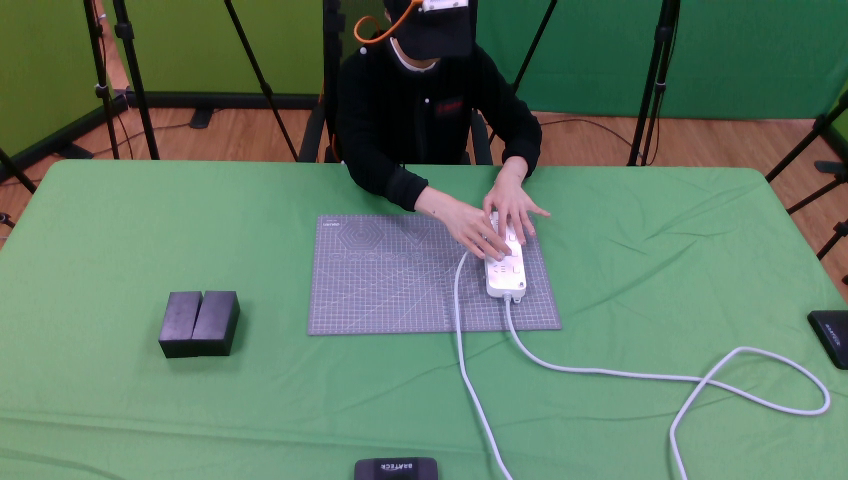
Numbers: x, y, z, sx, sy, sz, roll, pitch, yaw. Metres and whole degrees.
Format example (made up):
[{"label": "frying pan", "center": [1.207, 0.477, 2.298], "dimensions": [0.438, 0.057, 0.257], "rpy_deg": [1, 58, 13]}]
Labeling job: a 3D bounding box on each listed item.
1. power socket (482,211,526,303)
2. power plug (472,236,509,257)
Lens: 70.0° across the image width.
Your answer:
[{"label": "power socket", "center": [0.152, 0.024, 1.173], "dimensions": [0.072, 0.033, 0.225], "rpy_deg": [4, 46, -2]}, {"label": "power plug", "center": [0.125, 0.013, 1.148], "dimensions": [0.072, 0.053, 0.035], "rpy_deg": [11, 45, 4]}]
